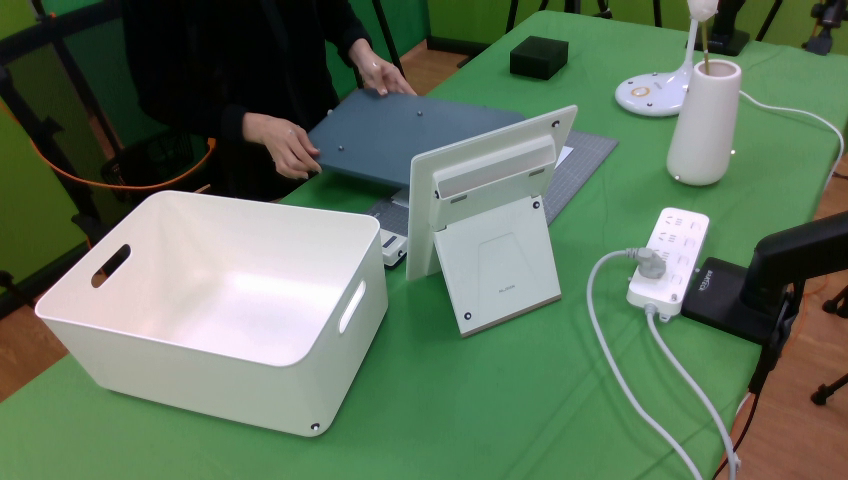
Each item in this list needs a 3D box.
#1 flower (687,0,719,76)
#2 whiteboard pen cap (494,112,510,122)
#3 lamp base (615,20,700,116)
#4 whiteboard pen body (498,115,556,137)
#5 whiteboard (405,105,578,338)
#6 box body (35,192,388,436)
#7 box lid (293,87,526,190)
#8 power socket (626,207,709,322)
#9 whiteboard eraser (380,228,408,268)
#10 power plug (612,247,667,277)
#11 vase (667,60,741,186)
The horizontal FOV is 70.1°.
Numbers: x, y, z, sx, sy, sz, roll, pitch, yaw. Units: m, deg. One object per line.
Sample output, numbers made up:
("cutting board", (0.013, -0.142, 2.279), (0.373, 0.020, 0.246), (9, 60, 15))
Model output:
("flower", (0.436, -0.242, 0.934), (0.038, 0.364, 0.043), (-24, 49, 9))
("whiteboard pen cap", (0.161, -0.253, 1.248), (0.033, 0.018, 0.018), (27, 51, 36))
("lamp base", (0.484, -0.364, 1.211), (0.180, 0.181, 0.159), (-15, 41, -14))
("whiteboard pen body", (0.203, -0.232, 1.213), (0.139, 0.017, 0.017), (28, 51, 36))
("whiteboard", (0.103, 0.003, 0.786), (0.218, 0.306, 0.143), (-19, 62, -14))
("box body", (-0.251, 0.087, 0.800), (0.362, 0.161, 0.254), (7, 42, 16))
("box lid", (-0.022, -0.182, 1.088), (0.369, 0.015, 0.263), (15, 48, 20))
("power socket", (0.360, 0.026, 0.886), (0.072, 0.033, 0.227), (17, 46, 27))
("whiteboard eraser", (-0.081, 0.007, 0.963), (0.112, 0.042, 0.056), (19, 48, 27))
("power plug", (0.306, 0.031, 0.852), (0.072, 0.053, 0.035), (21, 48, 37))
("vase", (0.463, -0.189, 0.994), (0.098, 0.201, 0.097), (-4, 40, 4))
